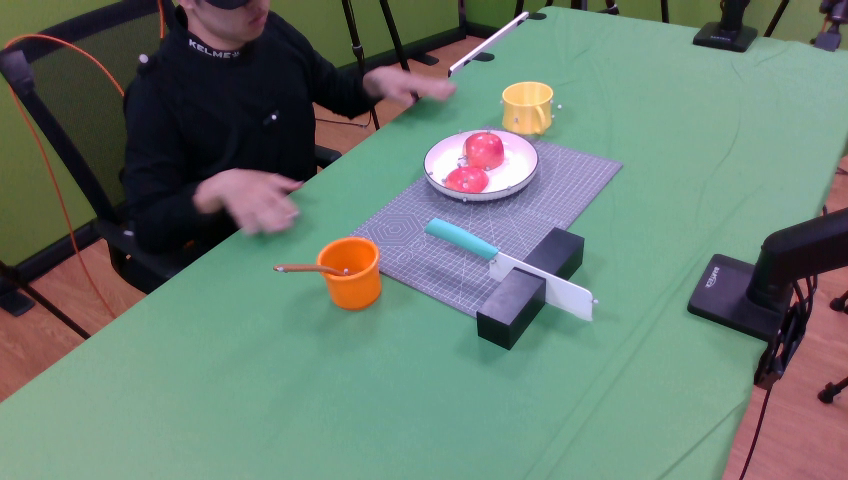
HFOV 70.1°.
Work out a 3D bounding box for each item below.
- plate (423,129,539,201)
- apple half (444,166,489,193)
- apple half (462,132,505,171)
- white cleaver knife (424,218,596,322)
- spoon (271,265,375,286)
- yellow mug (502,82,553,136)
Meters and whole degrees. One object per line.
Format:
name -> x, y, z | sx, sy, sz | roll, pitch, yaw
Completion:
plate -> 0.103, -0.132, 1.092 | 0.209, 0.038, 0.208 | -4, 40, 4
apple half -> 0.074, -0.112, 1.062 | 0.081, 0.033, 0.081 | -6, 39, 5
apple half -> 0.109, -0.170, 1.110 | 0.075, 0.053, 0.080 | -6, 40, -2
white cleaver knife -> 0.114, 0.042, 0.865 | 0.284, 0.066, 0.021 | 27, 47, 28
spoon -> -0.136, 0.046, 0.839 | 0.041, 0.195, 0.021 | 24, 94, 35
yellow mug -> 0.212, -0.256, 1.204 | 0.100, 0.064, 0.130 | -16, 42, -10
